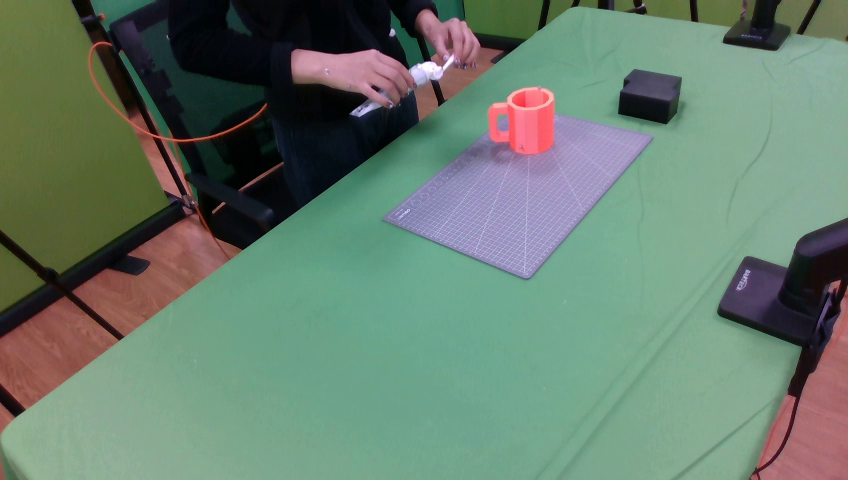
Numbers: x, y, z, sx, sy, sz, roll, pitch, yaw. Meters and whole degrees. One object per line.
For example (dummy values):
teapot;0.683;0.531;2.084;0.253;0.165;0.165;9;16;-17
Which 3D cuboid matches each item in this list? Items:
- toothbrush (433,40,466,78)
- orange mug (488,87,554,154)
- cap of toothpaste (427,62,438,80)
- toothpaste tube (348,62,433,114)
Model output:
toothbrush;0.049;-0.341;1.124;0.014;0.017;0.182;-1;34;24
orange mug;0.185;-0.227;1.151;0.126;0.101;0.083;1;41;5
cap of toothpaste;0.013;-0.304;1.078;0.037;0.011;0.037;11;67;-27
toothpaste tube;-0.053;-0.259;1.035;0.165;0.035;0.054;-34;23;-15
